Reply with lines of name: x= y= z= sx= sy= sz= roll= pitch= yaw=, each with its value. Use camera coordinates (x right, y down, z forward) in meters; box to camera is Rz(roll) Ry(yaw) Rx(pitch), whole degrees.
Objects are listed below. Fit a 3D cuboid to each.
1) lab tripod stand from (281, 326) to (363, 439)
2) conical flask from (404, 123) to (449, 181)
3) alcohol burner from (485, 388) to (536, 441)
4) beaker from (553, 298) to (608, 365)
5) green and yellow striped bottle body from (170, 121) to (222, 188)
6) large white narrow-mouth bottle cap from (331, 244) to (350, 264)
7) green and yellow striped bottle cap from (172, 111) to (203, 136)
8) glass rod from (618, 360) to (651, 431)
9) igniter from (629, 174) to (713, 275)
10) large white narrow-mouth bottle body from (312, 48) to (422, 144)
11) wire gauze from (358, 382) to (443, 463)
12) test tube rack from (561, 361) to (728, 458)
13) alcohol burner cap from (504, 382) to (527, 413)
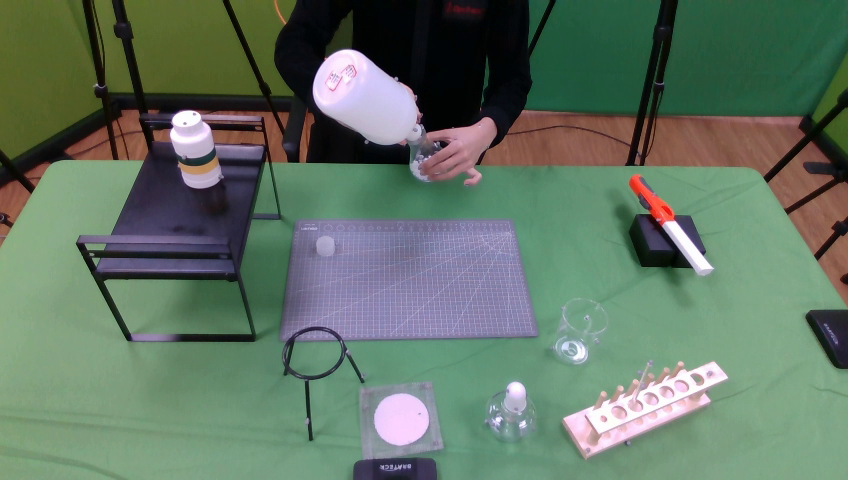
lab tripod stand: x=-0.166 y=0.203 z=0.913 sx=0.148 sy=0.132 sz=0.147 roll=1 pitch=47 yaw=-1
conical flask: x=-0.004 y=-0.159 z=1.061 sx=0.075 sy=0.122 sz=0.075 roll=-4 pitch=71 yaw=13
alcohol burner: x=0.131 y=0.249 z=0.904 sx=0.078 sy=0.120 sz=0.077 roll=1 pitch=48 yaw=-1
beaker: x=0.260 y=0.154 z=1.014 sx=0.073 sy=0.101 sz=0.084 roll=37 pitch=54 yaw=27
green and yellow striped bottle body: x=-0.375 y=-0.149 z=0.995 sx=0.063 sy=0.120 sz=0.063 roll=2 pitch=46 yaw=-2
large white narrow-mouth bottle cap: x=-0.160 y=0.026 z=1.161 sx=0.038 sy=0.024 sz=0.037 roll=4 pitch=46 yaw=-4
green and yellow striped bottle cap: x=-0.374 y=-0.185 z=0.957 sx=0.045 sy=0.020 sz=0.045 roll=4 pitch=45 yaw=-3
glass rod: x=0.298 y=0.227 z=0.865 sx=0.008 sy=0.201 sz=0.008 roll=-2 pitch=47 yaw=2
igniter: x=0.481 y=-0.040 z=1.202 sx=0.057 sy=0.025 sz=0.274 roll=-2 pitch=46 yaw=-21
large white narrow-mouth bottle body: x=-0.072 y=-0.204 z=0.929 sx=0.101 sy=0.196 sz=0.101 roll=-15 pitch=64 yaw=33
wire gauze: x=-0.039 y=0.276 z=0.937 sx=0.121 sy=0.011 sz=0.124 roll=-4 pitch=47 yaw=-7
test tube rack: x=0.341 y=0.248 z=0.940 sx=0.243 sy=0.085 sz=0.066 roll=-15 pitch=49 yaw=-18
alcohol burner cap: x=0.132 y=0.225 z=0.877 sx=0.034 sy=0.048 sz=0.033 roll=-4 pitch=47 yaw=4
